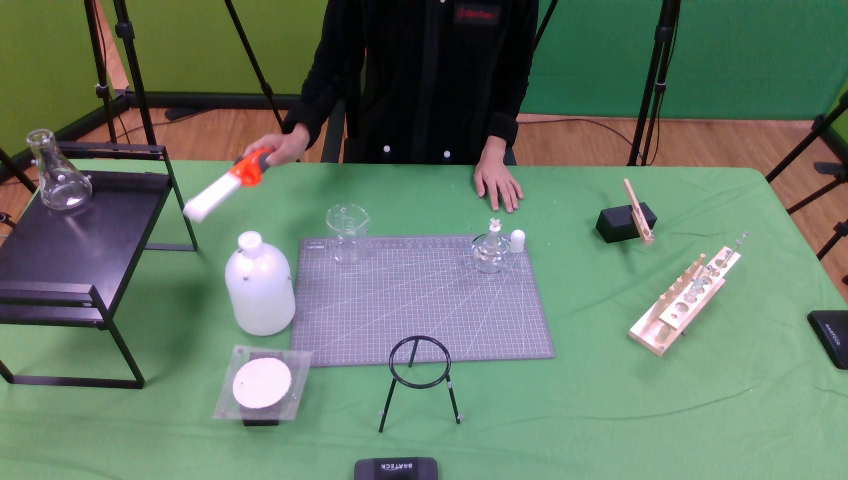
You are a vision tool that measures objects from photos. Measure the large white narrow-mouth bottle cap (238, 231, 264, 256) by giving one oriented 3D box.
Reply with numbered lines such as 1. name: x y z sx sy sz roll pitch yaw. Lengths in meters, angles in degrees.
1. large white narrow-mouth bottle cap: -0.266 0.006 0.932 0.038 0.024 0.037 2 46 -2

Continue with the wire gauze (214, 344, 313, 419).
1. wire gauze: -0.241 0.213 0.915 0.121 0.011 0.124 5 46 1

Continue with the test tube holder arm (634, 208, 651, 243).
1. test tube holder arm: 0.428 -0.030 1.189 0.010 0.015 0.087 1 47 -2

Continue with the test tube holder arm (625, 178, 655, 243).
1. test tube holder arm: 0.433 -0.062 1.220 0.013 0.015 0.177 1 47 -3

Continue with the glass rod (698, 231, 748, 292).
1. glass rod: 0.514 0.044 1.051 0.008 0.200 0.008 1 55 -1

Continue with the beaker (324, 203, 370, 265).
1. beaker: -0.142 -0.009 1.137 0.084 0.101 0.073 -2 47 -7

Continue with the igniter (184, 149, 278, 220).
1. igniter: -0.319 -0.102 1.029 0.057 0.025 0.275 33 28 -5

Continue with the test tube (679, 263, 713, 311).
1. test tube: 0.452 0.092 1.023 0.017 0.151 0.017 1 49 -1

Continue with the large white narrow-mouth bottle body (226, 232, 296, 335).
1. large white narrow-mouth bottle body: -0.270 0.065 0.995 0.102 0.195 0.101 2 46 -2

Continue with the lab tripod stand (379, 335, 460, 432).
1. lab tripod stand: -0.010 0.214 0.911 0.148 0.132 0.147 1 45 0

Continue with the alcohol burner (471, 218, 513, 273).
1. alcohol burner: 0.128 0.005 1.132 0.078 0.120 0.077 0 47 0

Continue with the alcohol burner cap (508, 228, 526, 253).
1. alcohol burner cap: 0.185 -0.002 1.192 0.034 0.048 0.033 3 44 -2

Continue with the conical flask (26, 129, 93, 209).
1. conical flask: -0.575 -0.113 0.946 0.075 0.122 0.075 2 46 -2

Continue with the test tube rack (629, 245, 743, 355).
1. test tube rack: 0.474 0.095 1.091 0.242 0.085 0.066 -34 56 -31
